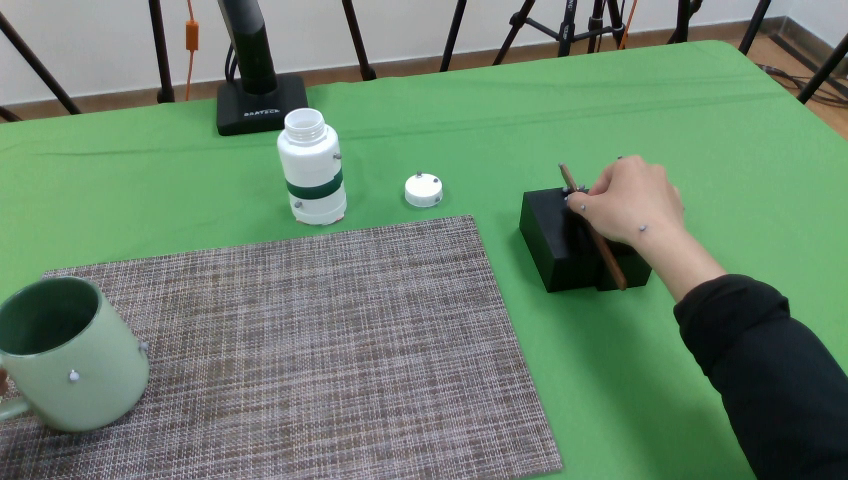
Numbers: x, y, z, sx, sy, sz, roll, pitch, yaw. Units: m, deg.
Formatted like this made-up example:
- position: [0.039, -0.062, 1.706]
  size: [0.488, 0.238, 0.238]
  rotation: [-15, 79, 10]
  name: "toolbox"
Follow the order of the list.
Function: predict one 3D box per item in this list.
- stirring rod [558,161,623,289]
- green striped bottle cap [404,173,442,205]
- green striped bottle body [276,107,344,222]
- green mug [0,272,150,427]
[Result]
- position: [0.161, -0.020, 0.594]
  size: [0.006, 0.014, 0.174]
  rotation: [-6, 45, -6]
  name: "stirring rod"
- position: [-0.001, -0.059, 0.704]
  size: [0.044, 0.020, 0.044]
  rotation: [-1, 41, 1]
  name: "green striped bottle cap"
- position: [-0.122, -0.082, 0.652]
  size: [0.063, 0.120, 0.062]
  rotation: [0, 45, 0]
  name: "green striped bottle body"
- position: [-0.293, 0.097, 0.477]
  size: [0.125, 0.106, 0.091]
  rotation: [-30, 52, -26]
  name: "green mug"
